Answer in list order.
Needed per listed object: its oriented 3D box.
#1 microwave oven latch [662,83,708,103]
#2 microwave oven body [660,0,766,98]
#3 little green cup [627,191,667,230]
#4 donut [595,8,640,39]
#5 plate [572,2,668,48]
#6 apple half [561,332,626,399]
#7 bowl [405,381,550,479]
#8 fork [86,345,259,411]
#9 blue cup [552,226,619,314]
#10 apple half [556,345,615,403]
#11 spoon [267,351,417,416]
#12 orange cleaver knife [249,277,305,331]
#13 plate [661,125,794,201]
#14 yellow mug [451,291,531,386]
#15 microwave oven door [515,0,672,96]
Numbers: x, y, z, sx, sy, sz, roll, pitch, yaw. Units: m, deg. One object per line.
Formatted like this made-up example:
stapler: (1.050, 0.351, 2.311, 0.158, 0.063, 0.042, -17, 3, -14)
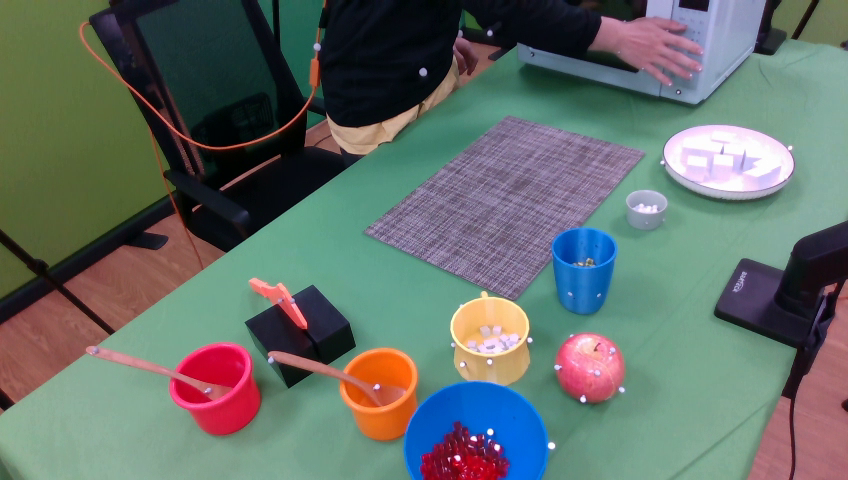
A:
microwave oven latch: (0.518, -0.296, 1.204, 0.078, 0.029, 0.030, 27, 52, 35)
microwave oven body: (0.473, -0.513, 1.317, 0.438, 0.261, 0.327, 26, 51, 34)
little green cup: (0.352, -0.046, 0.963, 0.061, 0.039, 0.061, -4, 40, 4)
donut: (0.436, -0.488, 1.359, 0.099, 0.048, 0.098, -11, 34, 9)
plate: (0.441, -0.482, 1.367, 0.209, 0.038, 0.208, -4, 41, 4)
apple half: (0.209, 0.147, 0.730, 0.080, 0.075, 0.053, 27, 48, 38)
bowl: (0.058, 0.235, 0.646, 0.151, 0.077, 0.150, -5, 39, 4)
fork: (-0.298, 0.166, 0.728, 0.209, 0.018, 0.028, 28, 46, -23)
blue cup: (0.218, 0.046, 0.826, 0.092, 0.101, 0.092, -6, 40, 5)
apple half: (0.181, 0.166, 0.709, 0.080, 0.081, 0.033, 29, 50, 35)
spoon: (-0.090, 0.162, 0.699, 0.021, 0.195, 0.041, -45, 30, 26)
orange cleaver knife: (-0.210, 0.088, 0.856, 0.012, 0.077, 0.210, -28, 15, -25)
plate: (0.514, -0.128, 1.035, 0.207, 0.039, 0.206, -4, 40, 4)
yellow mug: (0.085, 0.120, 0.786, 0.100, 0.064, 0.130, -6, 39, 1)
microwave oven door: (0.344, -0.455, 1.259, 0.353, 0.245, 0.039, 26, 51, 33)
